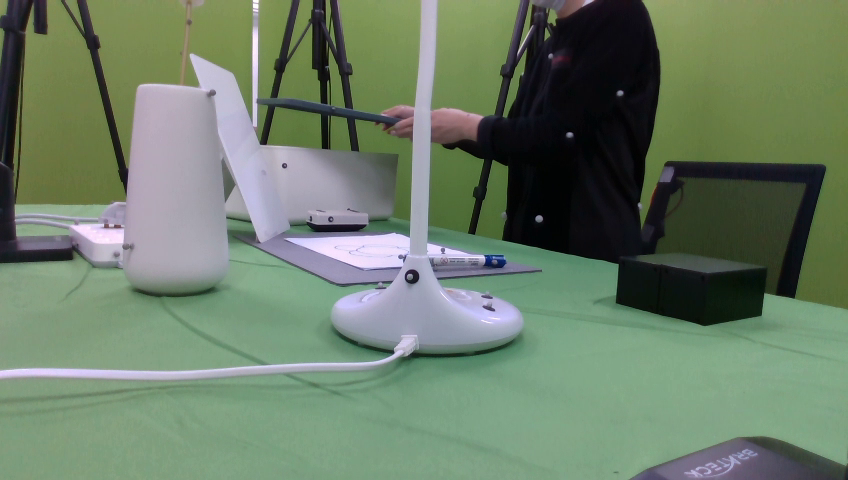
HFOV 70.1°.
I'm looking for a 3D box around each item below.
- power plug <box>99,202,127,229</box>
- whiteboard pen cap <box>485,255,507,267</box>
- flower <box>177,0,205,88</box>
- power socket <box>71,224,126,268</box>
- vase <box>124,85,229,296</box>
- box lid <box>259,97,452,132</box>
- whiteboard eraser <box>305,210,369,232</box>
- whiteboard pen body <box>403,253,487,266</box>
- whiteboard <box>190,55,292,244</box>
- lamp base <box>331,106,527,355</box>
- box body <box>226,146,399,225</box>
[{"bbox_3d":[-0.415,-0.026,0.848,0.073,0.052,0.035,6,5,-28],"label":"power plug"},{"bbox_3d":[0.093,0.028,0.809,0.033,0.018,0.018,1,7,-24],"label":"whiteboard pen cap"},{"bbox_3d":[-0.243,-0.131,0.609,0.044,0.361,0.038,-5,-12,11],"label":"flower"},{"bbox_3d":[-0.409,0.004,0.793,0.072,0.032,0.225,-2,8,-37],"label":"power socket"},{"bbox_3d":[-0.244,-0.047,0.598,0.098,0.200,0.098,3,8,0],"label":"vase"},{"bbox_3d":[-0.151,-0.270,1.309,0.373,0.015,0.262,4,10,-30],"label":"box lid"},{"bbox_3d":[-0.168,-0.038,1.172,0.113,0.042,0.055,-3,8,-34],"label":"whiteboard eraser"},{"bbox_3d":[0.040,0.026,0.785,0.141,0.017,0.017,2,7,-24],"label":"whiteboard pen body"},{"bbox_3d":[-0.363,-0.129,1.028,0.144,0.305,0.217,-18,7,3],"label":"whiteboard"},{"bbox_3d":[0.006,-0.012,0.478,0.161,0.180,0.179,2,10,2],"label":"lamp base"},{"bbox_3d":[-0.264,-0.129,1.380,0.253,0.160,0.366,8,9,39],"label":"box body"}]
